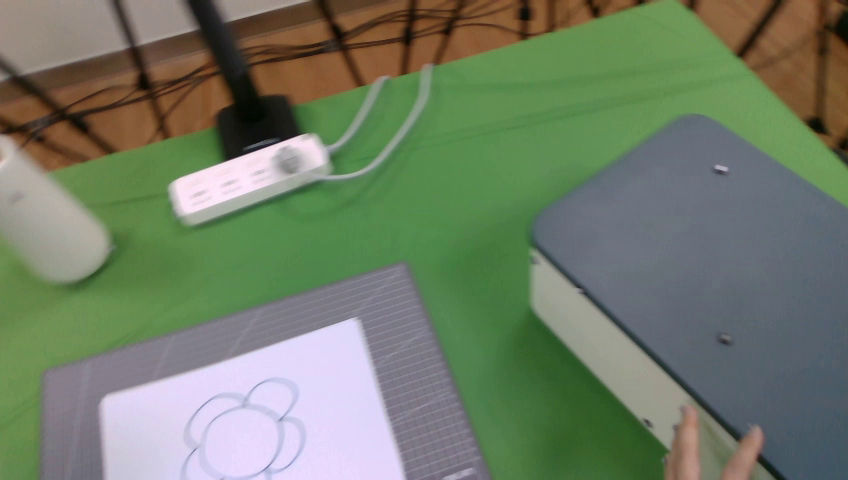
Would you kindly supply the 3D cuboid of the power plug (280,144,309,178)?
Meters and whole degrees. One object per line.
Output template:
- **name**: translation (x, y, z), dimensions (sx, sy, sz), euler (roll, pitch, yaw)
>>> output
- **power plug**: translation (-0.173, -0.097, 0.817), dimensions (0.035, 0.053, 0.072), euler (-13, 62, -5)

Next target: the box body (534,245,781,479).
- **box body**: translation (0.312, 0.080, 0.608), dimensions (0.254, 0.162, 0.360), euler (-33, 59, -17)

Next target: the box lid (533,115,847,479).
- **box lid**: translation (0.305, 0.037, 0.548), dimensions (0.263, 0.015, 0.368), euler (-33, 59, -17)

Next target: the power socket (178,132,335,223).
- **power socket**: translation (-0.230, -0.089, 0.843), dimensions (0.227, 0.033, 0.071), euler (-21, 58, -11)

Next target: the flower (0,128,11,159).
- **flower**: translation (-0.441, -0.081, 0.652), dimensions (0.038, 0.363, 0.044), euler (30, 52, 3)

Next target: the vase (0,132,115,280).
- **vase**: translation (-0.457, -0.035, 0.721), dimensions (0.098, 0.202, 0.097), euler (-3, 55, 4)
